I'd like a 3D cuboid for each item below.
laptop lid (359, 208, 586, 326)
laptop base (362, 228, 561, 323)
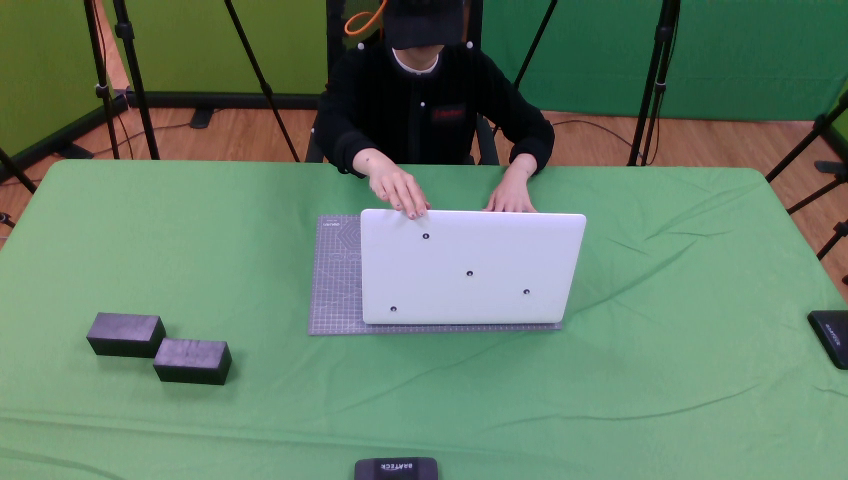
[{"bbox_3d":[0.073,0.050,0.988,0.357,0.243,0.013,2,34,-4],"label":"laptop lid"},{"bbox_3d":[0.064,0.063,1.143,0.355,0.023,0.234,0,43,-4],"label":"laptop base"}]
